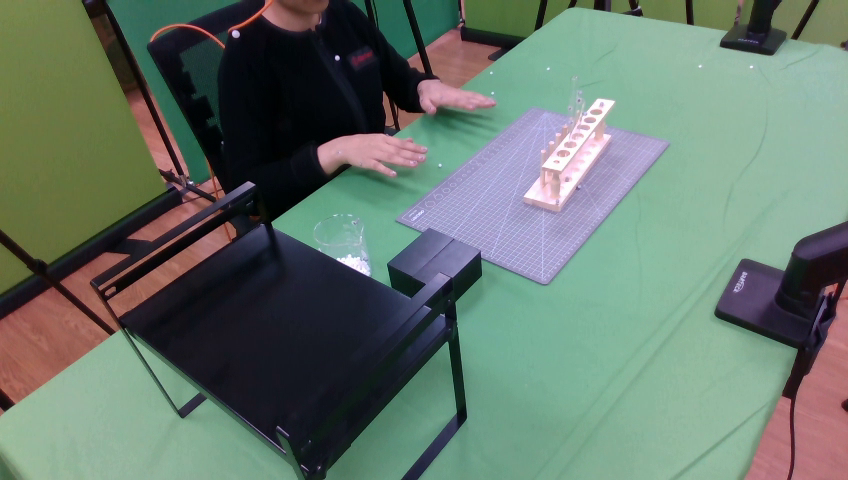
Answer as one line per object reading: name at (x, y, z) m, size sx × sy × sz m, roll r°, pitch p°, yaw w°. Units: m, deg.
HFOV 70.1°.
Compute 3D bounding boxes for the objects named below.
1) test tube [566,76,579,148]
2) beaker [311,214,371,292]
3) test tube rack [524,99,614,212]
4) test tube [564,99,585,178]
test tube at (0.261, -0.221, 1.073) m, size 0.017 × 0.151 × 0.017 m, roll -4°, pitch 41°, yaw 4°
beaker at (-0.118, 0.022, 0.908) m, size 0.083 × 0.101 × 0.074 m, roll 26°, pitch 51°, yaw 32°
test tube rack at (0.259, -0.158, 1.069) m, size 0.066 × 0.085 × 0.243 m, roll 19°, pitch 47°, yaw 28°
test tube at (0.248, -0.164, 1.001) m, size 0.017 × 0.151 × 0.017 m, roll -1°, pitch 42°, yaw 1°
